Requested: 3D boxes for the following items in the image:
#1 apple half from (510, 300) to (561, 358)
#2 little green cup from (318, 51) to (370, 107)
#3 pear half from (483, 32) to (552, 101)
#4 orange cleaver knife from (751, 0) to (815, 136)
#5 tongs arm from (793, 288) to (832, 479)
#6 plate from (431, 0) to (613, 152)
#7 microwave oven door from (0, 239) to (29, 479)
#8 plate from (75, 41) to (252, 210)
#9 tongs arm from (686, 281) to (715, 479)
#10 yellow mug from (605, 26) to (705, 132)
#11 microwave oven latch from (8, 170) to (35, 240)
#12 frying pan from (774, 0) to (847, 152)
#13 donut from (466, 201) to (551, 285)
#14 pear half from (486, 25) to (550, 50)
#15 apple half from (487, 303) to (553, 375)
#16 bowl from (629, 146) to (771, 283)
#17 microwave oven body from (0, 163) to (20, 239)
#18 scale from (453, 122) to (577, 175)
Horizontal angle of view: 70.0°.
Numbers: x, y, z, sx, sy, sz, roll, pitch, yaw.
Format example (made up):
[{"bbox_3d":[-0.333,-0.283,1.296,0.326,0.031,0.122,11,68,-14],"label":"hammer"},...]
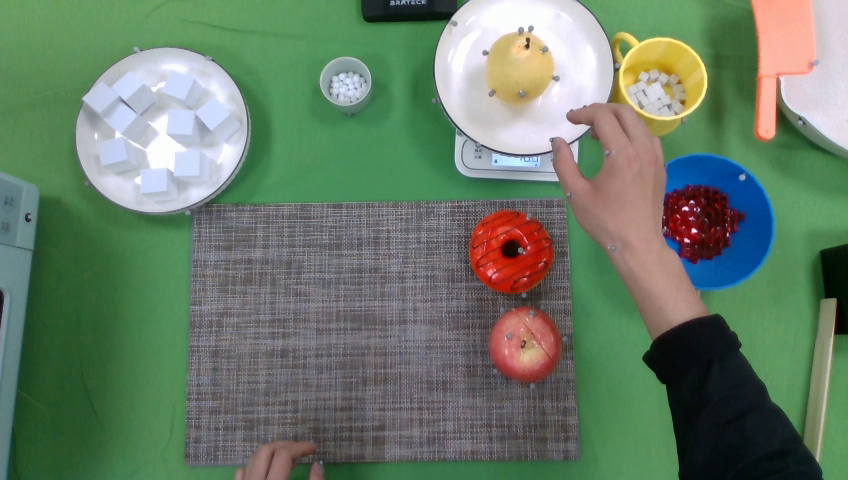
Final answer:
[{"bbox_3d":[0.129,0.092,0.673,0.033,0.081,0.081,-39,83,-1],"label":"apple half"},{"bbox_3d":[-0.095,-0.193,0.737,0.061,0.039,0.061,0,82,1],"label":"little green cup"},{"bbox_3d":[0.104,-0.188,0.660,0.076,0.110,0.056,-4,82,3],"label":"pear half"},{"bbox_3d":[0.401,-0.219,0.683,0.077,0.012,0.210,3,83,4],"label":"orange cleaver knife"},{"bbox_3d":[0.418,0.242,0.680,0.028,0.028,0.386,15,83,-6],"label":"tongs arm"},{"bbox_3d":[0.113,-0.201,0.706,0.209,0.038,0.208,0,82,0],"label":"plate"},{"bbox_3d":[-0.486,0.161,0.573,0.039,0.244,0.354,1,82,1],"label":"microwave oven door"},{"bbox_3d":[-0.309,-0.136,0.732,0.208,0.039,0.207,0,82,1],"label":"plate"},{"bbox_3d":[0.332,0.235,0.676,0.051,0.026,0.383,0,83,-5],"label":"tongs arm"},{"bbox_3d":[0.261,-0.198,0.719,0.100,0.064,0.130,-33,82,-3],"label":"yellow mug"},{"bbox_3d":[-0.475,-0.041,0.703,0.030,0.029,0.079,3,83,1],"label":"microwave oven latch"},{"bbox_3d":[0.586,-0.141,0.688,0.307,0.103,0.484,-28,75,-2],"label":"frying pan"},{"bbox_3d":[0.097,0.004,0.701,0.099,0.048,0.099,0,83,2],"label":"donut"},{"bbox_3d":[0.104,-0.222,0.674,0.070,0.088,0.031,-5,82,2],"label":"pear half"},{"bbox_3d":[0.099,0.116,0.671,0.053,0.075,0.080,-37,85,-1],"label":"apple half"},{"bbox_3d":[0.299,-0.023,0.689,0.151,0.077,0.151,0,83,1],"label":"bowl"},{"bbox_3d":[-0.630,0.116,0.586,0.326,0.261,0.440,1,83,1],"label":"microwave oven body"},{"bbox_3d":[0.113,-0.181,0.736,0.148,0.031,0.200,3,83,2],"label":"scale"}]
